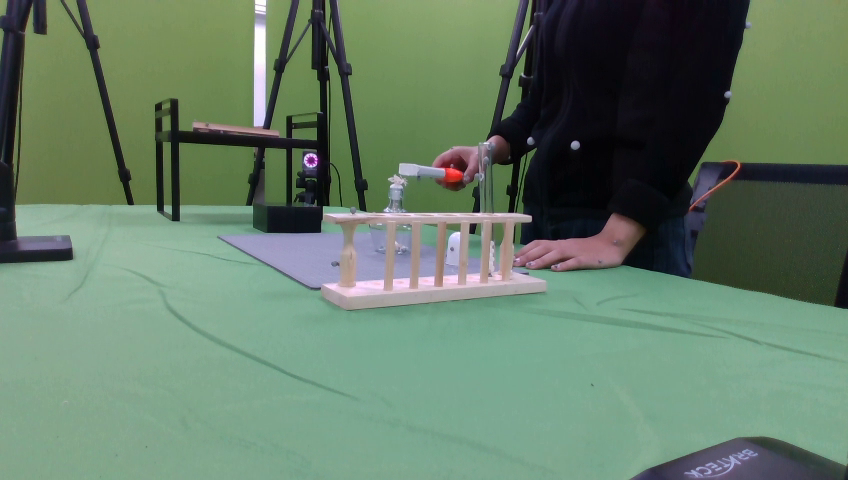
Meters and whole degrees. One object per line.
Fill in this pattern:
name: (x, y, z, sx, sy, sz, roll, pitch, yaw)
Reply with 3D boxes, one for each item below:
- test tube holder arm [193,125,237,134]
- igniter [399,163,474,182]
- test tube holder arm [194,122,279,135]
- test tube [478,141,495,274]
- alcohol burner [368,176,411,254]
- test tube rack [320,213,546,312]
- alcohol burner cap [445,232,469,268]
test tube holder arm: (-0.443, -0.235, 1.284, 0.088, 0.015, 0.010, -2, -21, -28)
igniter: (0.028, -0.115, 1.042, 0.057, 0.025, 0.277, 8, 6, 22)
test tube holder arm: (-0.401, -0.238, 1.301, 0.179, 0.015, 0.013, -2, -21, -29)
test tube: (0.071, -0.036, 0.683, 0.017, 0.150, 0.017, -2, 8, 1)
alcohol burner: (-0.045, -0.038, 0.913, 0.078, 0.119, 0.078, 4, 7, 0)
test tube rack: (0.018, 0.017, 0.638, 0.244, 0.085, 0.066, -2, 9, -31)
alcohol burner cap: (0.045, 0.013, 0.829, 0.034, 0.048, 0.034, 2, 7, 0)
